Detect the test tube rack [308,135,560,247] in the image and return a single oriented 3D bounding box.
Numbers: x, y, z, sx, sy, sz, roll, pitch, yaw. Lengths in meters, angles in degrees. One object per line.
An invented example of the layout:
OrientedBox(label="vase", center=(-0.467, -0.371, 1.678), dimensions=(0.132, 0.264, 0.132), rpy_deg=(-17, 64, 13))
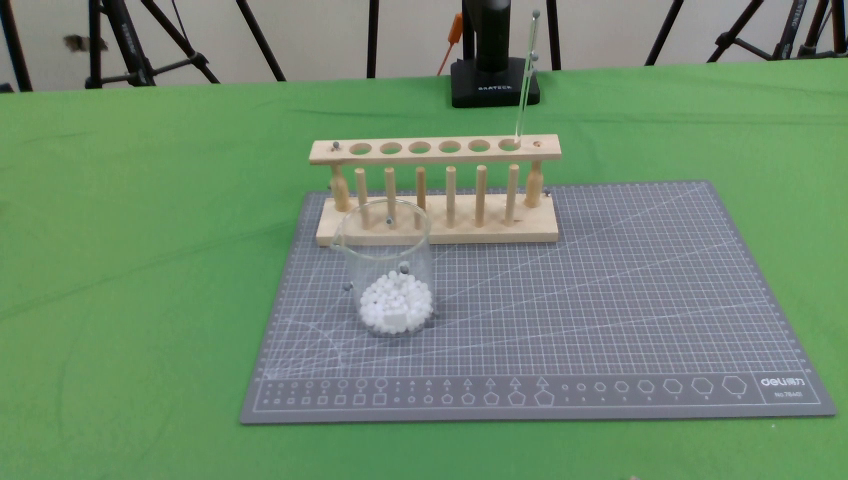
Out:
OrientedBox(label="test tube rack", center=(0.010, -0.048, 0.606), dimensions=(0.242, 0.086, 0.066), rpy_deg=(-1, 41, 3))

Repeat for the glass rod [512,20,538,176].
OrientedBox(label="glass rod", center=(0.090, -0.108, 0.566), dimensions=(0.008, 0.201, 0.008), rpy_deg=(0, 44, 0))

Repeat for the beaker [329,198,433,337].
OrientedBox(label="beaker", center=(-0.032, 0.027, 0.511), dimensions=(0.084, 0.101, 0.073), rpy_deg=(-15, 42, -11))
